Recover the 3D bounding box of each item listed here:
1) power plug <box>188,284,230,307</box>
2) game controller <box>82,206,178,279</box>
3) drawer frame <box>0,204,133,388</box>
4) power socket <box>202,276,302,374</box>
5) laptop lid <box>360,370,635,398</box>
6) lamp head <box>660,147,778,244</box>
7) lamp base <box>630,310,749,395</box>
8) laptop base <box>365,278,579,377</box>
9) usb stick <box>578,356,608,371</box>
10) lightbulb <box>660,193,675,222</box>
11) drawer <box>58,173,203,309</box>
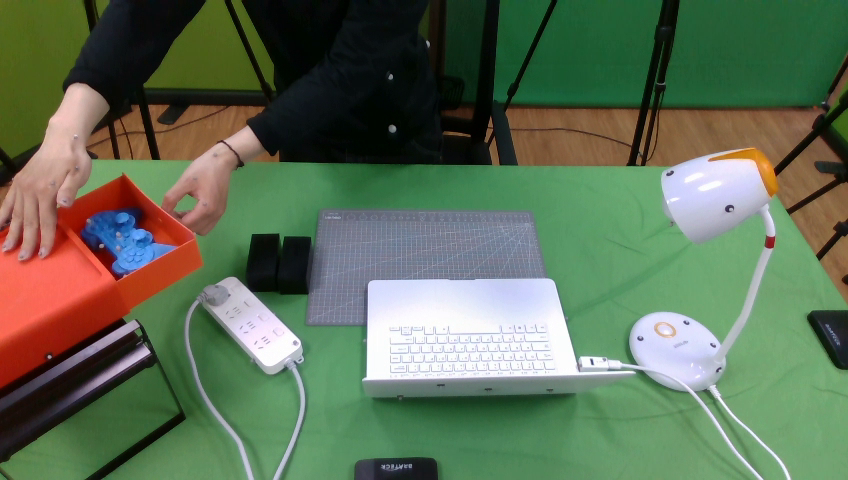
[{"bbox_3d":[-0.368,0.100,1.036,0.072,0.053,0.035,-27,53,-24],"label":"power plug"},{"bbox_3d":[-0.430,0.001,0.891,0.154,0.052,0.097,36,58,27],"label":"game controller"},{"bbox_3d":[-0.537,0.075,0.797,0.200,0.083,0.213,36,54,26],"label":"drawer frame"},{"bbox_3d":[-0.297,0.141,1.033,0.072,0.033,0.225,-34,58,-31],"label":"power socket"},{"bbox_3d":[0.090,0.208,0.863,0.357,0.242,0.013,0,71,-6],"label":"laptop lid"},{"bbox_3d":[0.389,-0.063,0.784,0.123,0.113,0.112,-22,33,37],"label":"lamp head"},{"bbox_3d":[0.447,0.142,0.984,0.161,0.181,0.178,-24,55,-24],"label":"lamp base"},{"bbox_3d":[0.076,0.161,1.053,0.355,0.023,0.234,0,44,-4],"label":"laptop base"},{"bbox_3d":[0.273,0.207,1.007,0.059,0.027,0.021,0,52,0],"label":"usb stick"},{"bbox_3d":[0.366,-0.060,0.806,0.060,0.107,0.059,17,61,-32],"label":"lightbulb"},{"bbox_3d":[-0.460,0.018,0.859,0.193,0.073,0.211,35,54,26],"label":"drawer"}]
